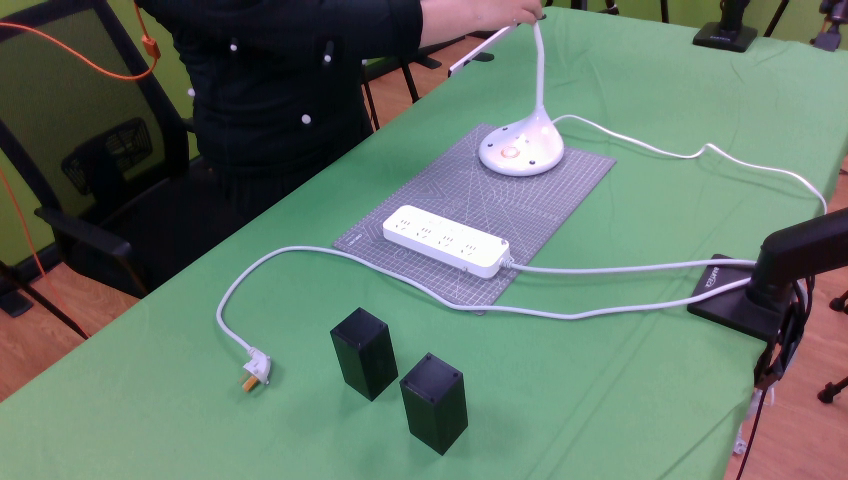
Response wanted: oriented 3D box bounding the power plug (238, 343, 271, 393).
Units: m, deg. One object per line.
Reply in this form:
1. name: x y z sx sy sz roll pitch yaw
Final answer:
1. power plug: -0.230 0.172 0.800 0.072 0.035 0.053 8 50 48

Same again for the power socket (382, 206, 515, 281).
1. power socket: 0.032 0.002 0.950 0.225 0.033 0.072 21 49 29

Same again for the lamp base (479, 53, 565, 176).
1. lamp base: 0.181 -0.235 1.093 0.159 0.181 0.179 18 44 27
